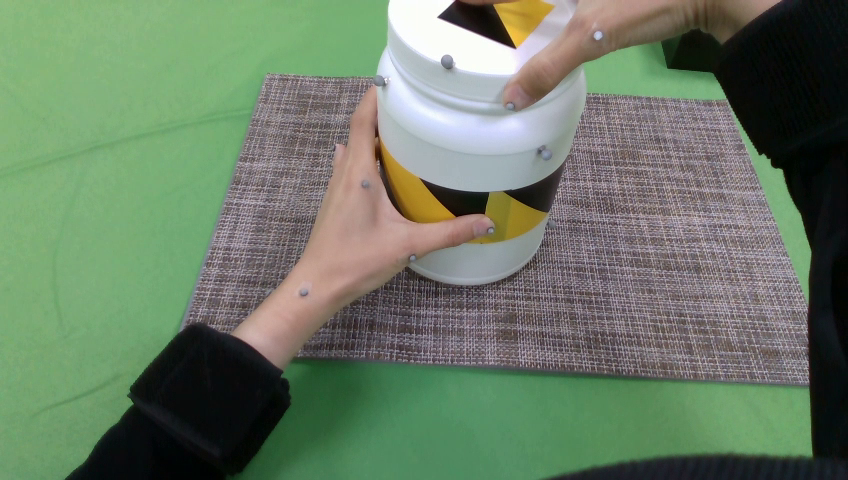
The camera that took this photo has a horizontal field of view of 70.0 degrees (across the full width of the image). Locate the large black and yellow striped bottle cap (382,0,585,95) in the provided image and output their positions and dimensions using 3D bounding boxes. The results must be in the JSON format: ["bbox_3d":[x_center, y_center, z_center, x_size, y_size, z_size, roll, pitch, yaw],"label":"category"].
[{"bbox_3d":[0.033,-0.126,0.344,0.115,0.019,0.114,3,53,-3],"label":"large black and yellow striped bottle cap"}]

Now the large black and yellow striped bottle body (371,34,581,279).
[{"bbox_3d":[0.030,-0.074,0.411,0.131,0.185,0.129,2,52,-2],"label":"large black and yellow striped bottle body"}]
